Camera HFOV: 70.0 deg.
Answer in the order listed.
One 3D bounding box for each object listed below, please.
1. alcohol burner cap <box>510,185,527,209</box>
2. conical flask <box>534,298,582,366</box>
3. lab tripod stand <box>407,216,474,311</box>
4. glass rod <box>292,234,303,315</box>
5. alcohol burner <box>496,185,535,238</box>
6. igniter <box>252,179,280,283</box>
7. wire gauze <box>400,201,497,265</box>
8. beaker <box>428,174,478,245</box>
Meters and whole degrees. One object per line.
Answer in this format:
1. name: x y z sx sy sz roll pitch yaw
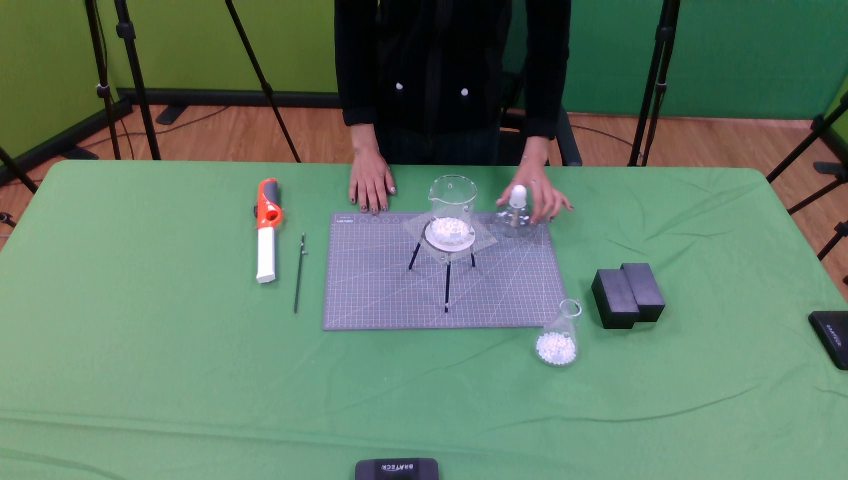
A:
1. alcohol burner cap: 0.185 -0.086 1.180 0.034 0.048 0.033 -1 54 2
2. conical flask: 0.229 0.149 1.005 0.075 0.122 0.075 2 46 -2
3. lab tripod stand: 0.039 0.030 1.092 0.148 0.132 0.147 2 44 -2
4. glass rod: -0.236 0.060 1.134 0.008 0.008 0.198 -1 46 -4
5. alcohol burner: 0.184 -0.062 1.208 0.078 0.120 0.077 1 47 -1
6. igniter: -0.312 -0.027 1.197 0.057 0.025 0.274 -12 47 -2
7. wire gauze: 0.042 -0.013 1.043 0.125 0.011 0.120 -24 49 -23
8. beaker: 0.043 -0.047 1.009 0.084 0.101 0.073 -16 48 -19
